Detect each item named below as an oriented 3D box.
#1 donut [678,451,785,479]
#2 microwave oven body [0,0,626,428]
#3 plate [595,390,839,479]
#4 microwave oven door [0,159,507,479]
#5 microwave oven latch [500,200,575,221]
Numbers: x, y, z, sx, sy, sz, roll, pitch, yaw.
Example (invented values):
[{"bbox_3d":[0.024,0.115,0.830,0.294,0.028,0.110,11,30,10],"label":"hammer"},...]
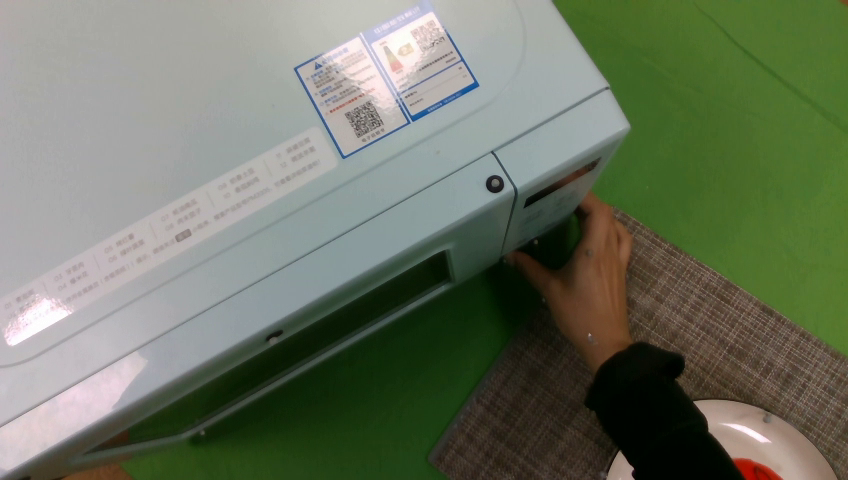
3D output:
[{"bbox_3d":[0.261,0.228,0.509,0.099,0.048,0.098,0,81,3],"label":"donut"},{"bbox_3d":[-0.137,-0.077,0.491,0.442,0.261,0.324,-30,79,-1],"label":"microwave oven body"},{"bbox_3d":[0.248,0.235,0.520,0.209,0.038,0.208,-1,79,3],"label":"plate"},{"bbox_3d":[-0.103,0.067,0.456,0.356,0.245,0.039,-30,78,-2],"label":"microwave oven door"},{"bbox_3d":[0.099,-0.034,0.566,0.079,0.029,0.030,-3,80,3],"label":"microwave oven latch"}]
